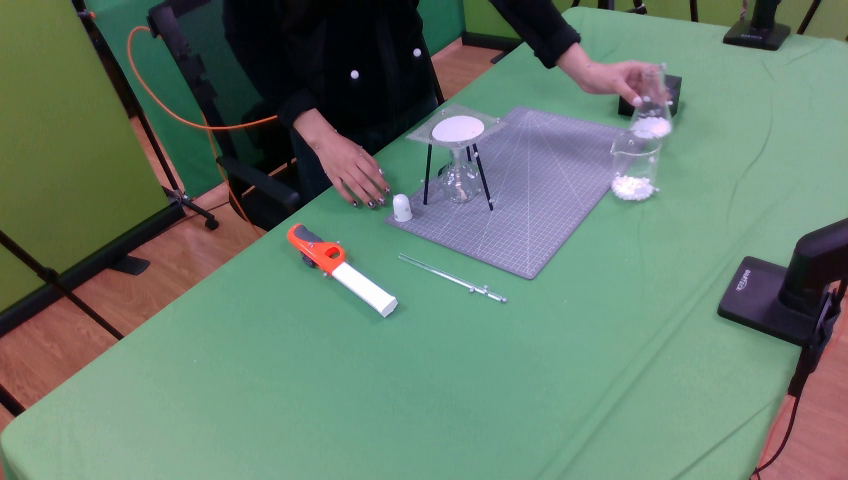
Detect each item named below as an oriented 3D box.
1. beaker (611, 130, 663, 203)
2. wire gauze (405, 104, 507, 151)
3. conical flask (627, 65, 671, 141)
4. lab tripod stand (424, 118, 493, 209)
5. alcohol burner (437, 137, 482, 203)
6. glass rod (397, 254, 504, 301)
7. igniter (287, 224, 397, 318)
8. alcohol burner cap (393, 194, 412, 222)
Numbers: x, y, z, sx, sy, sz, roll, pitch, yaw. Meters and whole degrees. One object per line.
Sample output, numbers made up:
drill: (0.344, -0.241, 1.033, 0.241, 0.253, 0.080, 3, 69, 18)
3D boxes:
beaker: (0.346, -0.118, 0.998, 0.084, 0.101, 0.073, -17, 40, -7)
wire gauze: (0.053, -0.184, 0.996, 0.120, 0.011, 0.125, 26, 50, 37)
conical flask: (0.394, -0.241, 1.054, 0.075, 0.122, 0.075, -9, 38, 7)
lab tripod stand: (0.061, -0.133, 1.038, 0.148, 0.132, 0.147, -6, 38, 6)
alcohol burner: (0.060, -0.125, 1.045, 0.078, 0.119, 0.077, -5, 39, 4)
glass rod: (0.036, 0.054, 0.922, 0.198, 0.008, 0.008, 22, 50, 31)
igniter: (-0.139, 0.042, 0.957, 0.057, 0.025, 0.274, -42, 49, -18)
alcohol burner cap: (-0.039, -0.057, 1.038, 0.034, 0.048, 0.033, -5, 40, 5)
